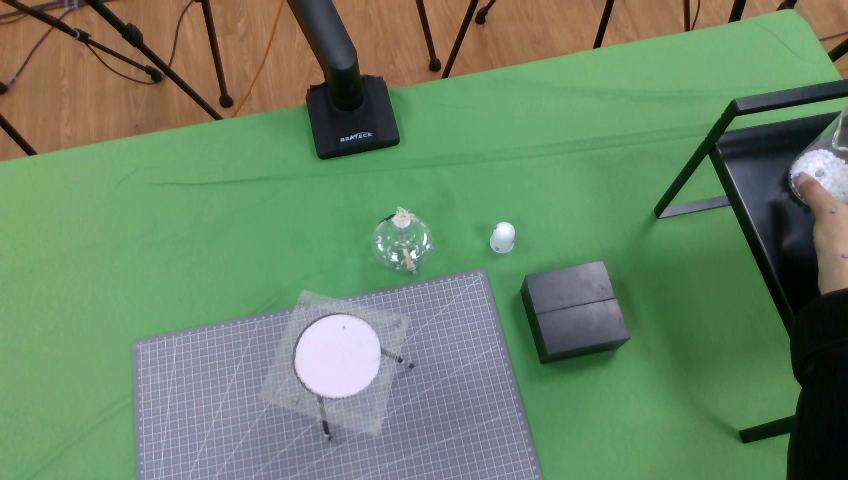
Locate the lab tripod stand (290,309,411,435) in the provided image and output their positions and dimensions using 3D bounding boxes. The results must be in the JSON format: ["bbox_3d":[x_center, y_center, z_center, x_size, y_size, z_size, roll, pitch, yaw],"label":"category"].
[{"bbox_3d":[-0.087,0.136,0.673,0.148,0.132,0.147,0,65,-1],"label":"lab tripod stand"}]

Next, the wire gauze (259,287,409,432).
[{"bbox_3d":[-0.088,0.115,0.609,0.125,0.011,0.121,15,67,6],"label":"wire gauze"}]

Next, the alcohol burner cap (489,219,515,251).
[{"bbox_3d":[0.103,-0.008,0.790,0.034,0.048,0.033,0,66,1],"label":"alcohol burner cap"}]

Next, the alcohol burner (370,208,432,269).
[{"bbox_3d":[-0.029,-0.009,0.750,0.078,0.120,0.077,1,66,-1],"label":"alcohol burner"}]

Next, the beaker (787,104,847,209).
[{"bbox_3d":[0.414,-0.080,0.595,0.084,0.101,0.073,-15,67,-6],"label":"beaker"}]
